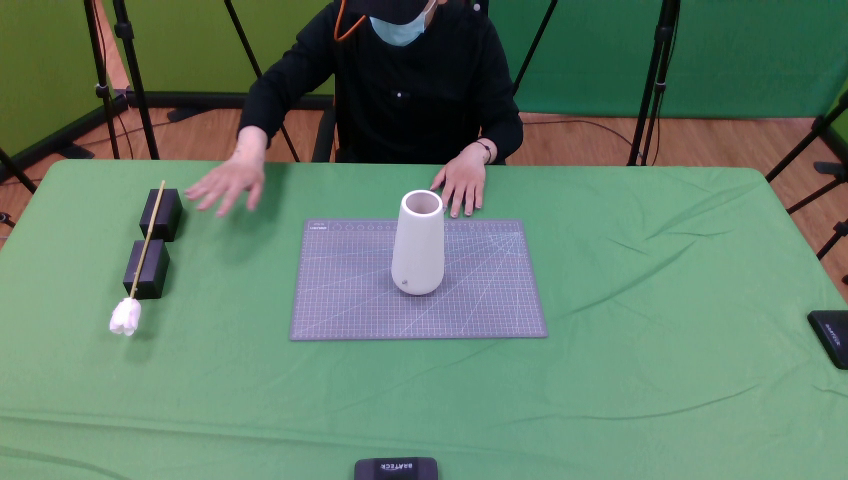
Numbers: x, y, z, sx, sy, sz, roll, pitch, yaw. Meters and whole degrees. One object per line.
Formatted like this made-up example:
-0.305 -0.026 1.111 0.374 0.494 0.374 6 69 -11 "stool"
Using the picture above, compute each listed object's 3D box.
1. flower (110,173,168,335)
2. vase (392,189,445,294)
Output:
-0.497 0.008 1.087 0.044 0.038 0.359 -12 51 9 "flower"
-0.007 0.006 1.060 0.098 0.201 0.097 2 48 -2 "vase"
